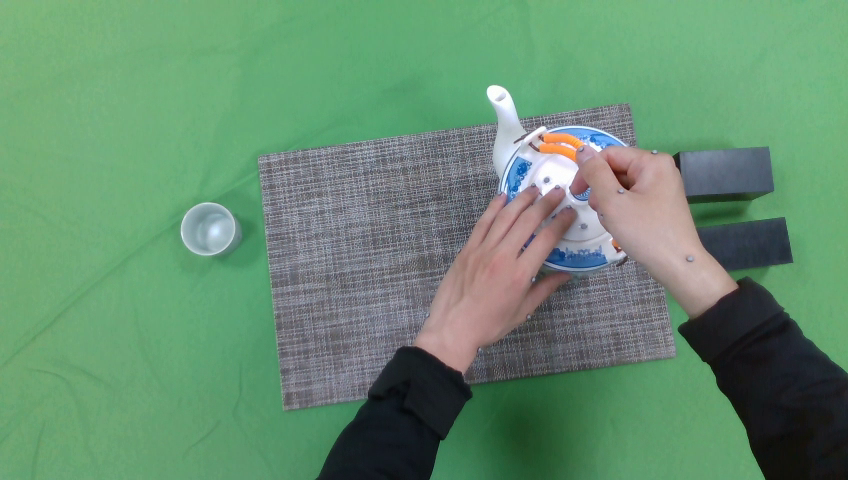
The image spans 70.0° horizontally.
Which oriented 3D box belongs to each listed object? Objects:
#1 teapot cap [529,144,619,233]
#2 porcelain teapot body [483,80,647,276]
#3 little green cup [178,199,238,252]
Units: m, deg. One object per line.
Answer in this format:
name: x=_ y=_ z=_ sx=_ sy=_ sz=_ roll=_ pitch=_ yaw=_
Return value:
teapot cap: x=0.140 y=-0.049 z=0.560 sx=0.085 sy=0.044 sz=0.085 roll=0 pitch=80 yaw=2
porcelain teapot body: x=0.122 y=-0.065 z=0.602 sx=0.145 sy=0.226 sz=0.205 roll=-40 pitch=83 yaw=-3
little green cup: x=-0.247 y=-0.015 z=0.702 sx=0.061 sy=0.039 sz=0.061 roll=0 pitch=82 yaw=2
